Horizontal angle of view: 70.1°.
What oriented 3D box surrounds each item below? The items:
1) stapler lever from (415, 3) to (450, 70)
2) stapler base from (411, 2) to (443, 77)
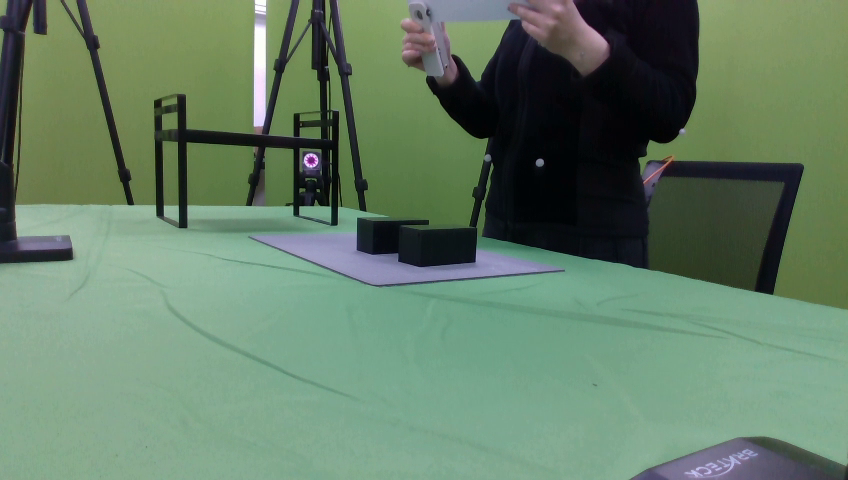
[{"bbox_3d":[0.020,-0.361,1.069,0.040,0.118,0.026,-42,40,-16],"label":"stapler lever"},{"bbox_3d":[0.011,-0.354,1.063,0.024,0.131,0.041,-32,36,-23],"label":"stapler base"}]
